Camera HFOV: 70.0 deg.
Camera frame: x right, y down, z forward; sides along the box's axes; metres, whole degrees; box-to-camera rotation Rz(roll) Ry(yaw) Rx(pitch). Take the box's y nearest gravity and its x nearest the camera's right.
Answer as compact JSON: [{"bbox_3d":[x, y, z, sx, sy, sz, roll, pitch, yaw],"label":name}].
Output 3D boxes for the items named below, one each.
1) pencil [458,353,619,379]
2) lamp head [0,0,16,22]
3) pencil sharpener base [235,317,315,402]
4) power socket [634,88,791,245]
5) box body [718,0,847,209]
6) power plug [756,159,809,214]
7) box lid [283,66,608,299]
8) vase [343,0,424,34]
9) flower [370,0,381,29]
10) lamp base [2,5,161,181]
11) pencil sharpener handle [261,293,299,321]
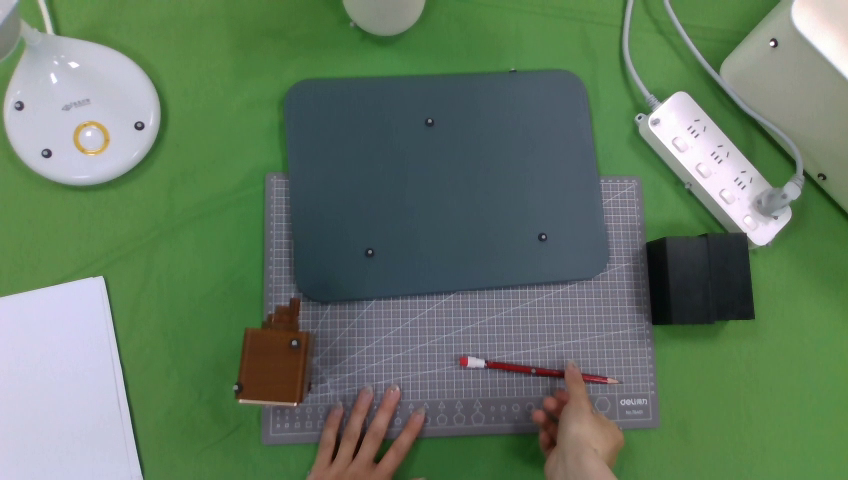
[{"bbox_3d":[0.133,0.146,0.695,0.194,0.012,0.012,9,81,-8],"label":"pencil"},{"bbox_3d":[-0.296,-0.165,0.320,0.112,0.124,0.111,-17,53,24],"label":"lamp head"},{"bbox_3d":[-0.147,0.118,0.613,0.061,0.107,0.076,6,80,-6],"label":"pencil sharpener base"},{"bbox_3d":[0.356,-0.091,0.746,0.072,0.032,0.226,-41,88,-11],"label":"power socket"},{"bbox_3d":[0.574,-0.185,0.721,0.364,0.160,0.254,45,79,1],"label":"box body"},{"bbox_3d":[0.430,-0.059,0.727,0.072,0.053,0.035,-31,84,-15],"label":"power plug"},{"bbox_3d":[0.029,-0.074,0.712,0.372,0.015,0.262,-5,82,-8],"label":"box lid"},{"bbox_3d":[-0.038,-0.305,0.643,0.098,0.200,0.098,1,80,-8],"label":"vase"},{"bbox_3d":[-0.020,-0.332,0.565,0.044,0.363,0.038,-28,74,-25],"label":"flower"},{"bbox_3d":[-0.371,-0.164,0.589,0.160,0.180,0.178,-32,84,-11],"label":"lamp base"},{"bbox_3d":[-0.139,0.066,0.609,0.036,0.068,0.030,4,80,1],"label":"pencil sharpener handle"}]
